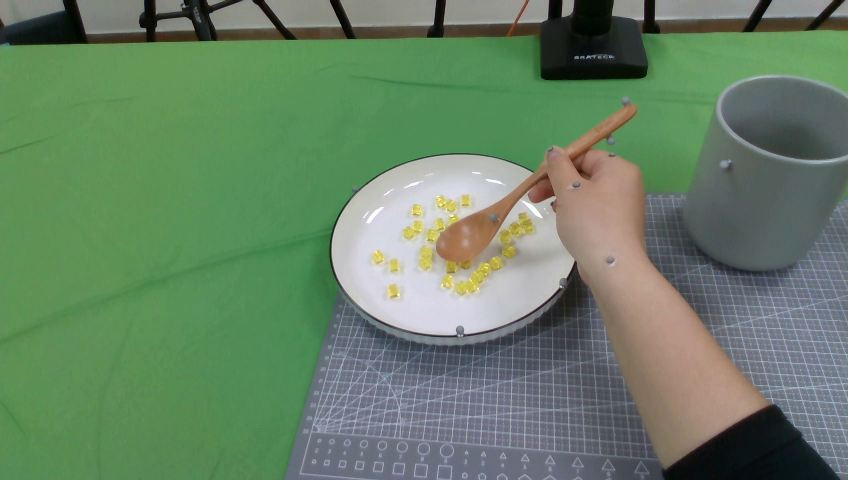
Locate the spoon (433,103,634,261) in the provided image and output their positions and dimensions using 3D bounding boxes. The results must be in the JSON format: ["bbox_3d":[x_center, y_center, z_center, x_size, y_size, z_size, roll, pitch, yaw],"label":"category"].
[{"bbox_3d":[0.086,-0.045,0.486,0.194,0.022,0.041,-39,49,19],"label":"spoon"}]

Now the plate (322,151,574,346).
[{"bbox_3d":[0.020,0.006,0.515,0.207,0.039,0.205,-2,48,3],"label":"plate"}]

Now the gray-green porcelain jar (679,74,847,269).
[{"bbox_3d":[0.265,-0.048,0.478,0.106,0.128,0.105,-3,48,4],"label":"gray-green porcelain jar"}]
